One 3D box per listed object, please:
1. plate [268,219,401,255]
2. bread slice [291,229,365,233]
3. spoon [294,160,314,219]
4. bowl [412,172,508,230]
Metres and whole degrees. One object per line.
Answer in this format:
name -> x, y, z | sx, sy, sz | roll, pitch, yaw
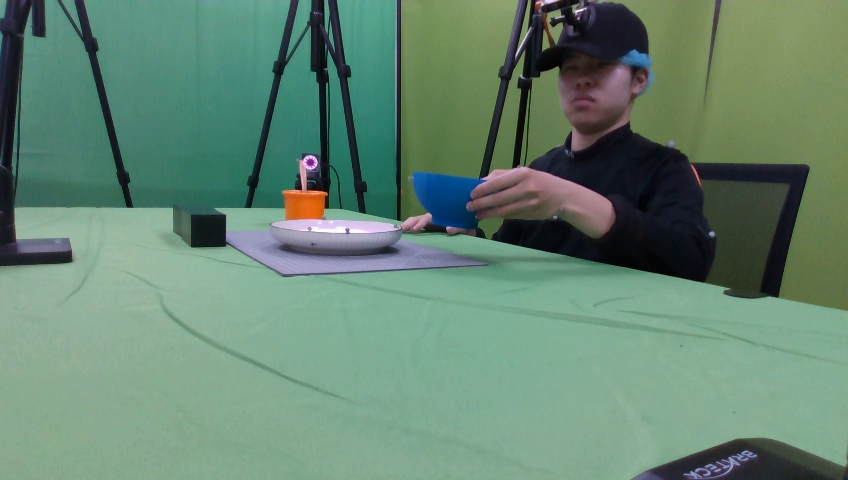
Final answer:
plate -> -0.140, -0.006, 0.958 | 0.209, 0.038, 0.209 | 3, 7, 0
bread slice -> -0.143, -0.003, 0.953 | 0.135, 0.018, 0.106 | -1, 8, -37
spoon -> -0.253, -0.102, 1.270 | 0.042, 0.193, 0.021 | 3, -38, -17
bowl -> 0.052, -0.059, 0.947 | 0.151, 0.077, 0.151 | 7, 5, 0
